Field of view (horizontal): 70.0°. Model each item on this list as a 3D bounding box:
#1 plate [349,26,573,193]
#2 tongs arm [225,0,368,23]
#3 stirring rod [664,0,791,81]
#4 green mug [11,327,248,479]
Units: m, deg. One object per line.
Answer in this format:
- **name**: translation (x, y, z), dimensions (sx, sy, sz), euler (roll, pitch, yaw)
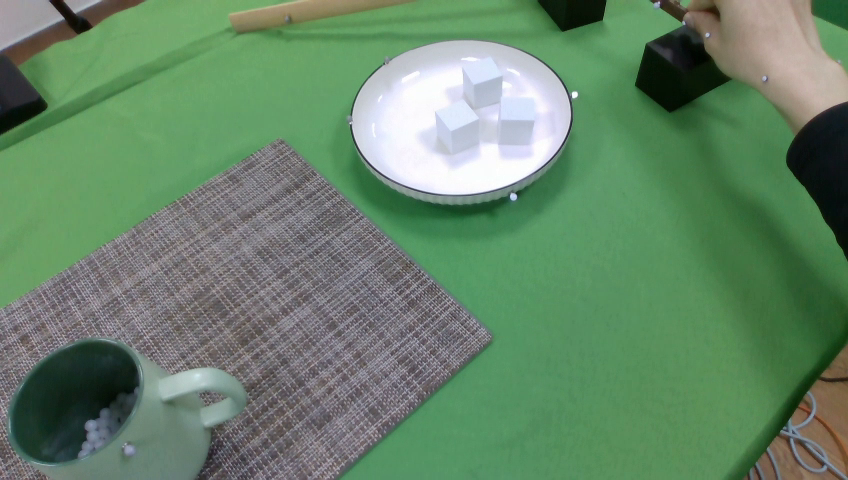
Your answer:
- **plate**: translation (0.035, -0.123, 0.577), dimensions (0.207, 0.039, 0.205), euler (-2, 57, 3)
- **tongs arm**: translation (-0.034, -0.285, 0.662), dimensions (0.387, 0.028, 0.028), euler (-7, 50, 10)
- **stirring rod**: translation (0.261, -0.202, 0.558), dimensions (0.006, 0.014, 0.175), euler (-37, 70, -21)
- **green mug**: translation (-0.179, 0.109, 0.395), dimensions (0.125, 0.106, 0.091), euler (-17, 56, -7)
